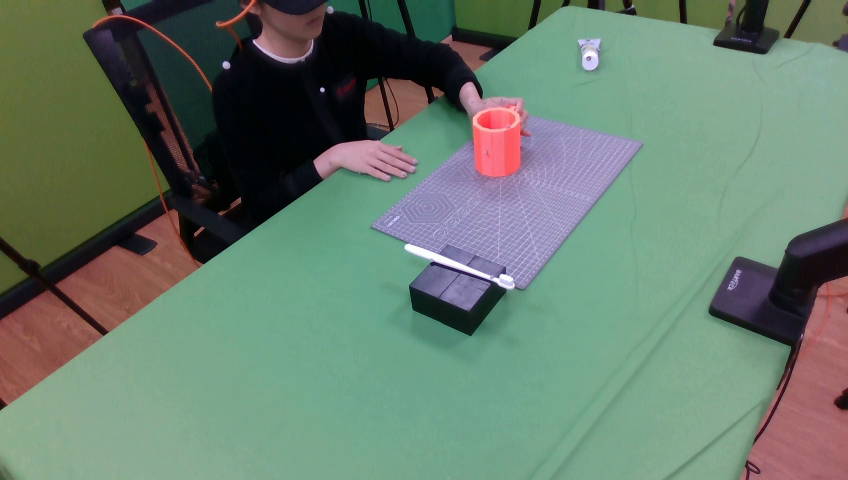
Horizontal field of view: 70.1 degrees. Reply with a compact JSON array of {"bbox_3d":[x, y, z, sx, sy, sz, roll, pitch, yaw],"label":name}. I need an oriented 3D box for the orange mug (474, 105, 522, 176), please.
[{"bbox_3d":[0.145,-0.192,1.114,0.083,0.101,0.126,18,51,27],"label":"orange mug"}]

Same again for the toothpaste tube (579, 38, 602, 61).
[{"bbox_3d":[0.398,-0.449,1.433,0.055,0.034,0.164,6,38,8],"label":"toothpaste tube"}]

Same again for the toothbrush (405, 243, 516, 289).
[{"bbox_3d":[0.048,0.034,0.859,0.180,0.017,0.014,19,51,28],"label":"toothbrush"}]

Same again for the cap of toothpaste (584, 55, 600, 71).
[{"bbox_3d":[0.381,-0.403,1.372,0.037,0.037,0.011,2,38,10],"label":"cap of toothpaste"}]
